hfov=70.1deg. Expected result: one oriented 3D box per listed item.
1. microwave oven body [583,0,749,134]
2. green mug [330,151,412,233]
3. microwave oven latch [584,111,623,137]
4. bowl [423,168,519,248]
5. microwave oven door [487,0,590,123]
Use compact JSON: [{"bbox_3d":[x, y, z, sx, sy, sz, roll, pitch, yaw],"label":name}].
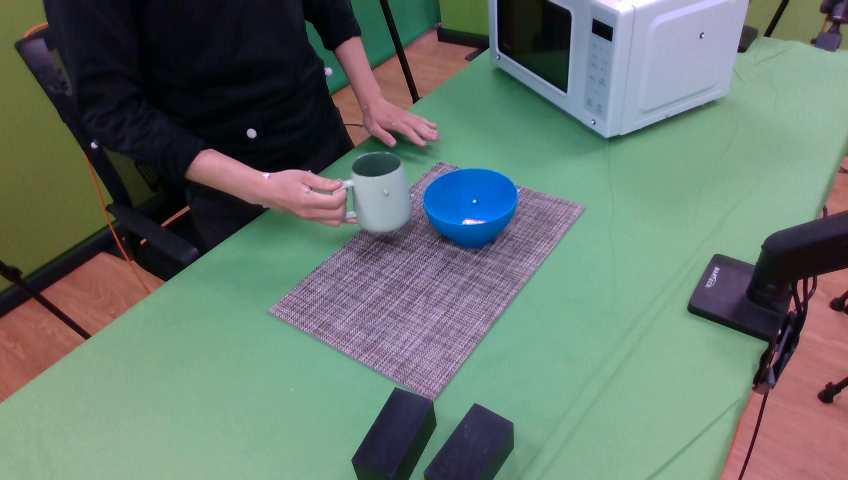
[{"bbox_3d":[0.382,-0.444,1.246,0.327,0.261,0.437,-22,42,-16],"label":"microwave oven body"},{"bbox_3d":[-0.084,-0.068,0.934,0.126,0.105,0.091,-18,39,-16],"label":"green mug"},{"bbox_3d":[0.337,-0.222,1.142,0.030,0.029,0.078,-21,42,-14],"label":"microwave oven latch"},{"bbox_3d":[0.075,-0.041,0.959,0.151,0.077,0.150,-4,40,4],"label":"bowl"},{"bbox_3d":[0.232,-0.420,1.231,0.039,0.245,0.352,-22,43,-16],"label":"microwave oven door"}]
